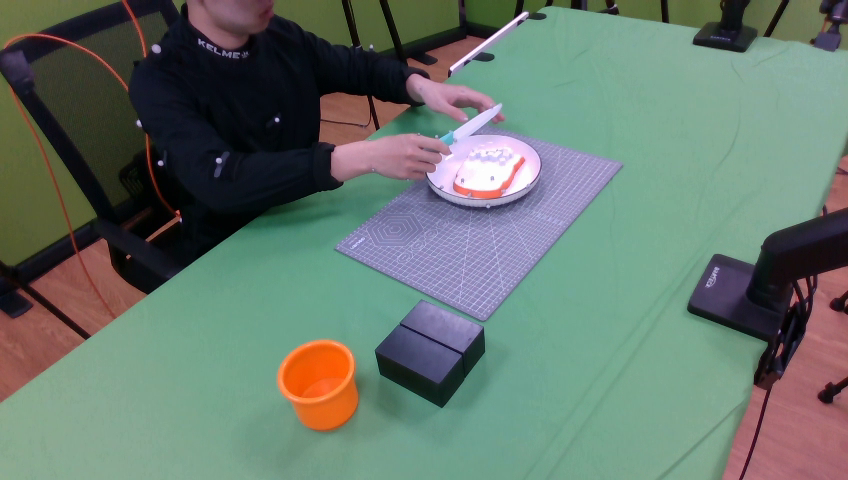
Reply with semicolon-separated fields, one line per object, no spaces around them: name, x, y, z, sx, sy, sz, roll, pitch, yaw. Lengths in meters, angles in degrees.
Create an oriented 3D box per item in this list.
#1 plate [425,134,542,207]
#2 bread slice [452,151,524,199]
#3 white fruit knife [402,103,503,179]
plate;0.106;-0.121;1.079;0.209;0.038;0.208;-4;40;4
bread slice;0.112;-0.118;1.079;0.104;0.019;0.131;11;42;21
white fruit knife;0.047;-0.172;1.028;0.207;0.027;0.016;-33;26;4
